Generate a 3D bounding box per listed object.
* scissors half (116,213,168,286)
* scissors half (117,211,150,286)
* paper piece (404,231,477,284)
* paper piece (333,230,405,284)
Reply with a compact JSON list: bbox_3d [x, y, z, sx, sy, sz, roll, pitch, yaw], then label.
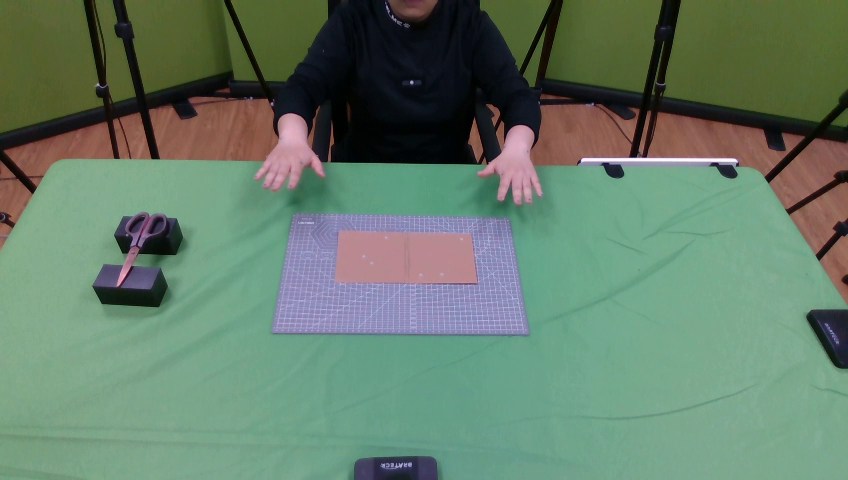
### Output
[{"bbox_3d":[-0.504,0.015,1.082,0.040,0.013,0.174,10,48,4],"label":"scissors half"},{"bbox_3d":[-0.524,0.013,1.080,0.040,0.013,0.174,1,48,-11],"label":"scissors half"},{"bbox_3d":[0.030,0.033,1.174,0.138,0.009,0.135,2,49,-3],"label":"paper piece"},{"bbox_3d":[-0.104,0.031,1.165,0.135,0.004,0.135,2,47,-4],"label":"paper piece"}]
